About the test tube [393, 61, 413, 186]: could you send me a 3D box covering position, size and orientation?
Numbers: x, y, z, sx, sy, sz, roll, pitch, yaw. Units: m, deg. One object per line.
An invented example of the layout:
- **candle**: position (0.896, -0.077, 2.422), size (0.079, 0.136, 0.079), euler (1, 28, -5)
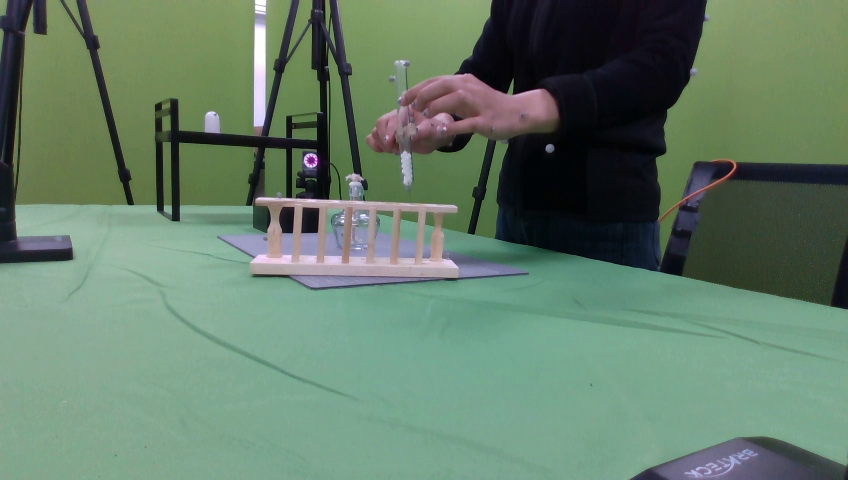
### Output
- **test tube**: position (-0.025, -0.141, 0.738), size (0.017, 0.150, 0.017), euler (-4, 7, 1)

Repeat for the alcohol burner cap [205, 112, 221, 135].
- **alcohol burner cap**: position (-0.443, -0.245, 1.270), size (0.034, 0.048, 0.034), euler (3, 8, 0)

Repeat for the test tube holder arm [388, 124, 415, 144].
- **test tube holder arm**: position (-0.032, -0.140, 0.806), size (0.013, 0.015, 0.178), euler (1, 5, -10)

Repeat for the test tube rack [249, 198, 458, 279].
- **test tube rack**: position (-0.082, -0.002, 0.732), size (0.243, 0.085, 0.066), euler (2, 8, -7)

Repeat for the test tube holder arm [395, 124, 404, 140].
- **test tube holder arm**: position (-0.032, -0.135, 0.761), size (0.010, 0.015, 0.088), euler (1, 5, -3)

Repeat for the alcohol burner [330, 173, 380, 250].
- **alcohol burner**: position (-0.107, -0.044, 0.938), size (0.078, 0.119, 0.078), euler (2, 6, 0)
